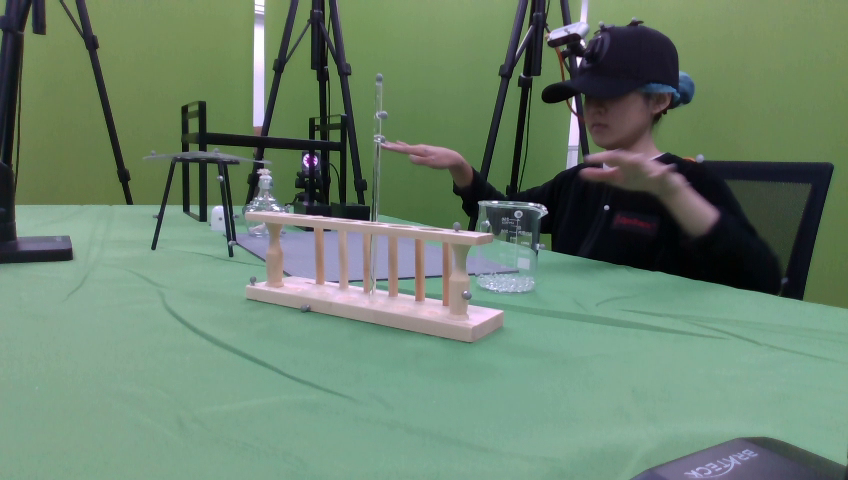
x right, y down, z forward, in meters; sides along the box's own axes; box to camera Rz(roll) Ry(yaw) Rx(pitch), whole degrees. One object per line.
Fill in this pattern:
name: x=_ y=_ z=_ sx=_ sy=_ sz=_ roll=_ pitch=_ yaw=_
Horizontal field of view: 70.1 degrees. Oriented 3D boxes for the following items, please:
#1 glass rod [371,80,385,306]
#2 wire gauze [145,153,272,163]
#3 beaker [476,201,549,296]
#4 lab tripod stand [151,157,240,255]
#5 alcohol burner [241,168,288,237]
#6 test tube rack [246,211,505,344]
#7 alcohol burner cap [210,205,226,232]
glass rod: x=-0.040 y=-0.039 z=0.530 sx=0.008 sy=0.199 sz=0.008 roll=2 pitch=2 yaw=0
wire gauze: x=-0.303 y=-0.117 z=0.854 sx=0.121 sy=0.011 sz=0.126 roll=7 pitch=8 yaw=34
beaker: x=0.098 y=0.009 z=0.680 sx=0.083 sy=0.100 sz=0.074 roll=8 pitch=9 yaw=32
lab tripod stand: x=-0.310 y=-0.052 z=0.866 sx=0.148 sy=0.131 sz=0.148 roll=2 pitch=6 yaw=0
alcohol burner: x=-0.272 y=-0.064 z=1.036 sx=0.078 sy=0.119 sz=0.078 roll=4 pitch=5 yaw=0
test tube rack: x=-0.049 y=0.025 z=0.547 sx=0.241 sy=0.085 sz=0.067 roll=7 pitch=8 yaw=29
alcohol burner cap: x=-0.376 y=-0.040 z=1.107 sx=0.034 sy=0.048 sz=0.034 roll=2 pitch=7 yaw=0
